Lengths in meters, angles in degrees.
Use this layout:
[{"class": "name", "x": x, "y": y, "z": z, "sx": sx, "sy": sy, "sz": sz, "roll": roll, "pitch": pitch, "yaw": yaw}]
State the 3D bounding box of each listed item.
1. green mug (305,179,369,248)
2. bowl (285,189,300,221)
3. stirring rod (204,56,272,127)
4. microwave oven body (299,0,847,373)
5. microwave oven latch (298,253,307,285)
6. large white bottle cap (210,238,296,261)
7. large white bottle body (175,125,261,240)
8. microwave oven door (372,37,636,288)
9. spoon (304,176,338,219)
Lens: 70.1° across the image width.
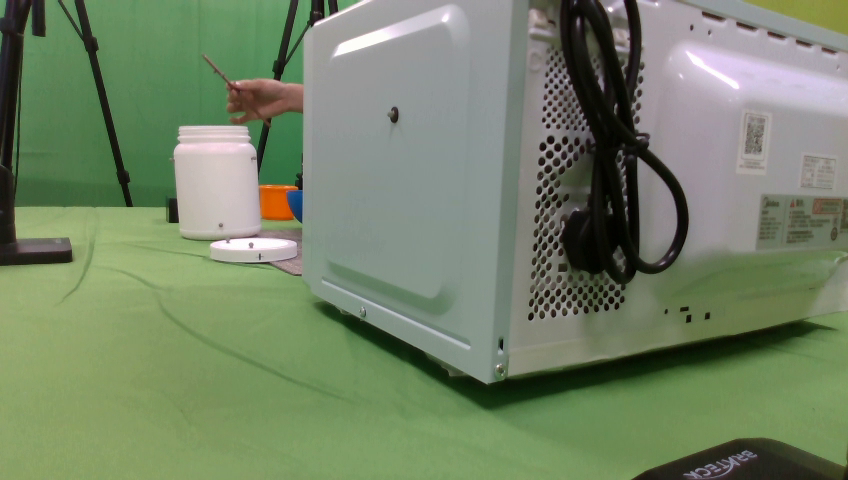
[{"class": "green mug", "x": -0.133, "y": -0.044, "z": 0.977, "sx": 0.092, "sy": 0.105, "sz": 0.126, "roll": 6, "pitch": 8, "yaw": 32}, {"class": "bowl", "x": -0.180, "y": -0.051, "z": 1.113, "sx": 0.151, "sy": 0.077, "sz": 0.151, "roll": 3, "pitch": 8, "yaw": 0}, {"class": "stirring rod", "x": -0.363, "y": -0.290, "z": 1.185, "sx": 0.006, "sy": 0.176, "sz": 0.014, "roll": -40, "pitch": 20, "yaw": 7}, {"class": "microwave oven body", "x": 0.152, "y": -0.055, "z": 0.542, "sx": 0.444, "sy": 0.260, "sz": 0.324, "roll": -2, "pitch": 7, "yaw": -33}, {"class": "microwave oven latch", "x": -0.081, "y": 0.027, "z": 0.582, "sx": 0.079, "sy": 0.029, "sz": 0.030, "roll": -2, "pitch": 7, "yaw": -32}, {"class": "large white bottle cap", "x": -0.236, "y": 0.012, "z": 0.839, "sx": 0.115, "sy": 0.018, "sz": 0.115, "roll": 1, "pitch": 7, "yaw": 0}, {"class": "large white bottle body", "x": -0.349, "y": -0.100, "z": 1.025, "sx": 0.131, "sy": 0.184, "sz": 0.130, "roll": -1, "pitch": 9, "yaw": 0}, {"class": "microwave oven door", "x": 0.110, "y": -0.080, "z": 0.686, "sx": 0.358, "sy": 0.243, "sz": 0.039, "roll": -2, "pitch": 9, "yaw": -33}, {"class": "spoon", "x": -0.201, "y": -0.084, "z": 1.146, "sx": 0.042, "sy": 0.021, "sz": 0.193, "roll": 3, "pitch": 30, "yaw": -25}]
